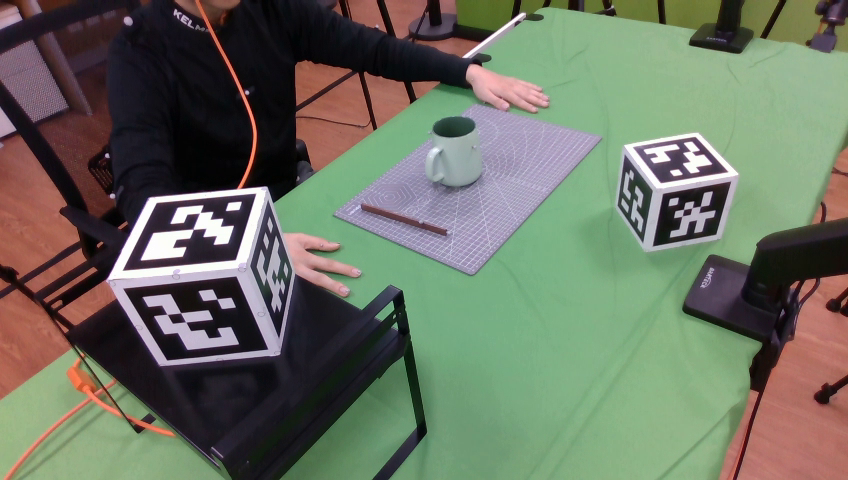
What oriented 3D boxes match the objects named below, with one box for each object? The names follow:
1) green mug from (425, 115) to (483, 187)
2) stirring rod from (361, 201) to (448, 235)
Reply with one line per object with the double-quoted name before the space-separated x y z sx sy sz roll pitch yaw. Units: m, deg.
"green mug" 0.046 -0.148 1.068 0.092 0.105 0.125 24 50 31
"stirring rod" -0.036 -0.038 1.019 0.175 0.014 0.006 19 53 27
